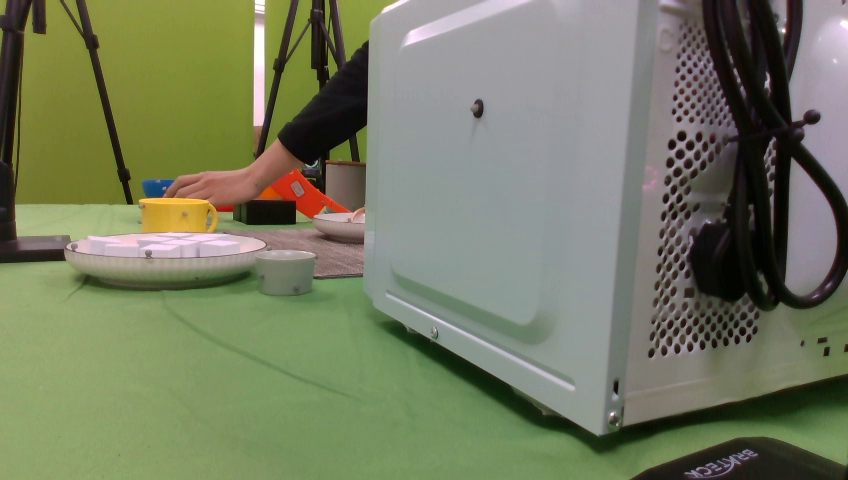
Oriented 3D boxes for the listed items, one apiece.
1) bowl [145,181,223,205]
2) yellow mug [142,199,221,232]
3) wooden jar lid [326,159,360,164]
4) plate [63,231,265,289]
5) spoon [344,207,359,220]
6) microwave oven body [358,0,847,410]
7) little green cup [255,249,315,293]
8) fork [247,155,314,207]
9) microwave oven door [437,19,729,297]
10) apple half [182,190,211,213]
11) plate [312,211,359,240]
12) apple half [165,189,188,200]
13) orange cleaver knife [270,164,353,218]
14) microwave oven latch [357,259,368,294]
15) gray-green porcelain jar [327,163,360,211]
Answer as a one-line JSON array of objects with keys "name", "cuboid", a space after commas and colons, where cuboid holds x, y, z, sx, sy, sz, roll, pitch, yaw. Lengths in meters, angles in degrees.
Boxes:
[{"name": "bowl", "cuboid": [-0.499, -0.081, 1.261, 0.151, 0.077, 0.151, 2, 8, 0]}, {"name": "yellow mug", "cuboid": [-0.372, -0.030, 0.947, 0.099, 0.064, 0.131, 5, 7, 30]}, {"name": "wooden jar lid", "cuboid": [-0.185, -0.186, 1.481, 0.108, 0.020, 0.108, 4, 6, 0]}, {"name": "plate", "cuboid": [-0.288, 0.021, 0.687, 0.208, 0.039, 0.207, 2, 8, 0]}, {"name": "spoon", "cuboid": [-0.126, -0.047, 1.117, 0.041, 0.021, 0.194, -2, 18, 15]}, {"name": "microwave oven body", "cuboid": [0.210, -0.051, 0.471, 0.444, 0.260, 0.324, -1, 7, -28]}, {"name": "little green cup", "cuboid": [-0.144, 0.032, 0.627, 0.061, 0.038, 0.061, 2, 5, 0]}, {"name": "fork", "cuboid": [-0.360, -0.147, 1.522, 0.207, 0.018, 0.028, -43, 7, -7]}, {"name": "microwave oven door", "cuboid": [0.180, -0.076, 0.618, 0.358, 0.243, 0.039, -2, 9, -28]}, {"name": "apple half", "cuboid": [-0.403, -0.054, 1.090, 0.033, 0.081, 0.081, 2, 7, 12]}, {"name": "plate", "cuboid": [-0.091, -0.026, 1.063, 0.209, 0.038, 0.209, 2, 7, 0]}, {"name": "apple half", "cuboid": [-0.441, -0.055, 1.097, 0.053, 0.074, 0.081, 0, 11, 11]}, {"name": "orange cleaver knife", "cuboid": [-0.240, -0.088, 1.329, 0.212, 0.077, 0.012, 36, -9, -33]}, {"name": "microwave oven latch", "cuboid": [-0.019, 0.031, 0.531, 0.079, 0.029, 0.030, -2, 7, -29]}, {"name": "gray-green porcelain jar", "cuboid": [-0.187, -0.126, 1.490, 0.106, 0.126, 0.106, 2, 7, 0]}]
